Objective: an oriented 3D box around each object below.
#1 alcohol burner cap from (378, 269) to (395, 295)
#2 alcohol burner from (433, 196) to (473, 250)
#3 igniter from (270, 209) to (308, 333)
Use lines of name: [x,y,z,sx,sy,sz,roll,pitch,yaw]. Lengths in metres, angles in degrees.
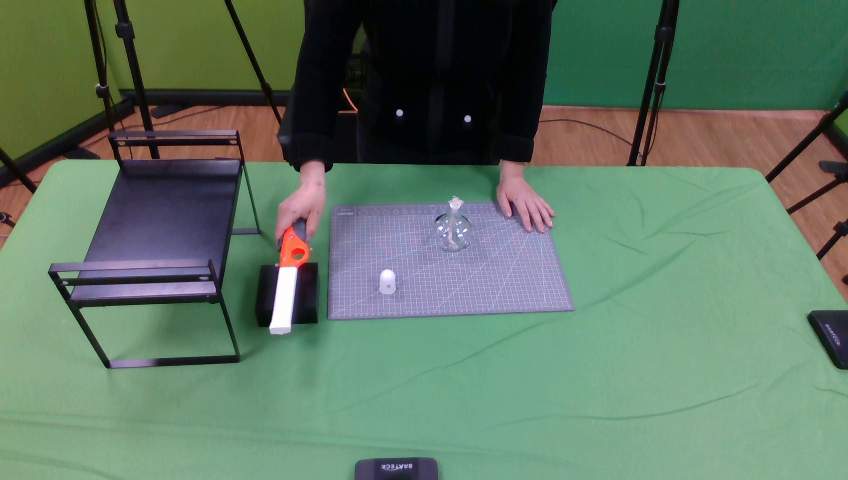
alcohol burner cap: [-0.068,0.073,1.103,0.034,0.048,0.033,3,46,-3]
alcohol burner: [0.058,-0.038,1.169,0.078,0.119,0.077,3,45,-3]
igniter: [-0.231,0.043,1.043,0.057,0.025,0.274,0,45,-3]
